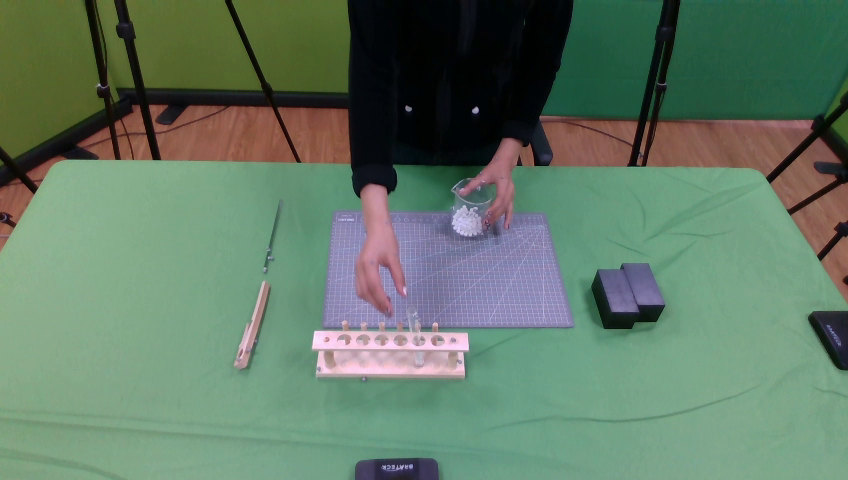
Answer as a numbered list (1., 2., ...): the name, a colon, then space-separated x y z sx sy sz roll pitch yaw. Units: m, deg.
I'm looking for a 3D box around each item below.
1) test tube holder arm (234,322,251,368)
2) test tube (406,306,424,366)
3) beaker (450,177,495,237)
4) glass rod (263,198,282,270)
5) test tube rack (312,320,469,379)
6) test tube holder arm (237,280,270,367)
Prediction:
1. test tube holder arm: -0.299 0.174 1.013 0.010 0.015 0.087 -18 41 23
2. test tube: -0.013 0.152 0.939 0.017 0.151 0.017 -3 48 3
3. beaker: 0.089 -0.062 1.186 0.084 0.101 0.073 8 47 -1
4. glass rod: -0.299 -0.017 1.202 0.008 0.008 0.198 1 46 -2
5. test tube rack: -0.053 0.173 0.984 0.242 0.085 0.066 1 46 -3
6. test tube holder arm: -0.291 0.140 1.042 0.013 0.015 0.177 -18 40 23
